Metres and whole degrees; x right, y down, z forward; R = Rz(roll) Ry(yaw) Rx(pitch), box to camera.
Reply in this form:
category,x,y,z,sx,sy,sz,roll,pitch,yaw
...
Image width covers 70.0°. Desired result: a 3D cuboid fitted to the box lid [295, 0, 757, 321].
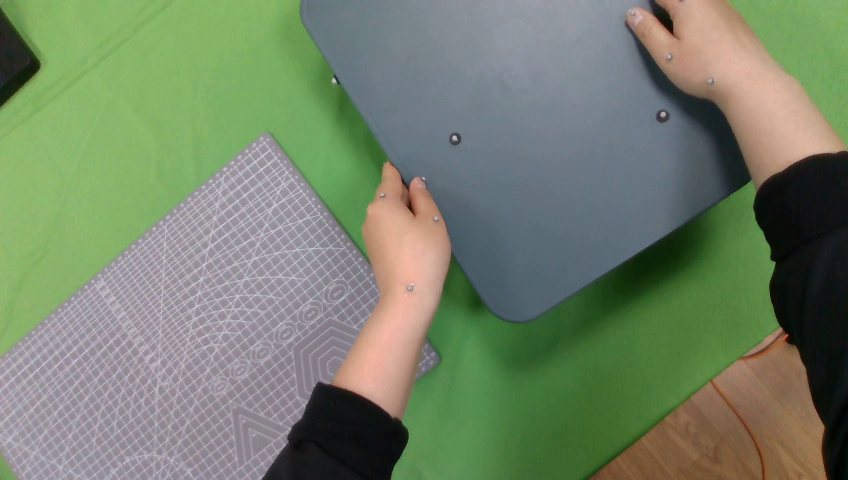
category,x,y,z,sx,sy,sz,roll,pitch,yaw
box lid,0.075,-0.144,0.527,0.263,0.015,0.370,-34,82,6
